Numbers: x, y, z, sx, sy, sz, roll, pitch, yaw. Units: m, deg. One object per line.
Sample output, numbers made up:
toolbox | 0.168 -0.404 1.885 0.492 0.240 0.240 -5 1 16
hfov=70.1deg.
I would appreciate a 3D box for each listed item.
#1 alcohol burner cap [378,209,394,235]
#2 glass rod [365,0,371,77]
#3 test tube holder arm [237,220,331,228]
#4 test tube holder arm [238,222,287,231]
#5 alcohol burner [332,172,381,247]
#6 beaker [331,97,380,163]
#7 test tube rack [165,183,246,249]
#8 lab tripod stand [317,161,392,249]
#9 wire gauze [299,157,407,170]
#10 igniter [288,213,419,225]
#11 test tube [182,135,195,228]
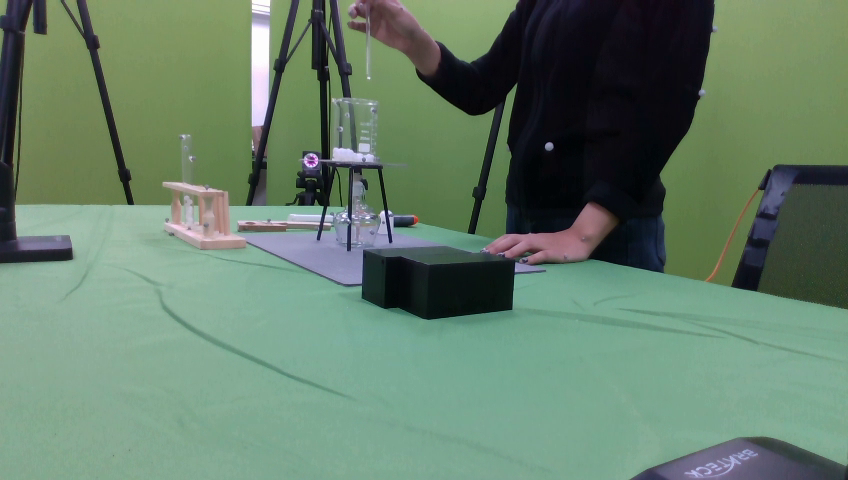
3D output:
alcohol burner cap | -0.072 -0.035 1.145 0.034 0.048 0.034 2 7 0
glass rod | -0.092 -0.364 0.981 0.008 0.199 0.008 -1 0 0
test tube holder arm | -0.260 -0.029 1.140 0.179 0.015 0.013 -1 41 -32
test tube holder arm | -0.296 -0.024 1.112 0.088 0.015 0.010 -1 41 -32
alcohol burner | -0.107 -0.048 0.961 0.078 0.119 0.078 1 9 0
beaker | -0.111 -0.171 0.950 0.073 0.100 0.084 12 12 42
test tube rack | -0.360 -0.044 0.982 0.067 0.085 0.241 -3 9 -34
lab tripod stand | -0.111 -0.059 0.964 0.148 0.131 0.148 4 8 0
wire gauze | -0.112 -0.124 0.959 0.121 0.011 0.126 13 11 40
igniter | -0.145 -0.044 1.278 0.278 0.025 0.057 -1 -2 -21
test tube | -0.382 -0.095 0.983 0.017 0.150 0.017 -1 2 0
